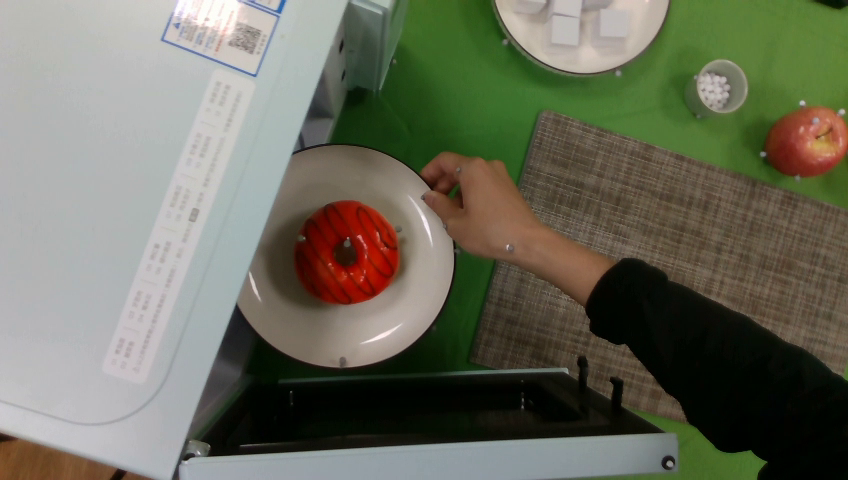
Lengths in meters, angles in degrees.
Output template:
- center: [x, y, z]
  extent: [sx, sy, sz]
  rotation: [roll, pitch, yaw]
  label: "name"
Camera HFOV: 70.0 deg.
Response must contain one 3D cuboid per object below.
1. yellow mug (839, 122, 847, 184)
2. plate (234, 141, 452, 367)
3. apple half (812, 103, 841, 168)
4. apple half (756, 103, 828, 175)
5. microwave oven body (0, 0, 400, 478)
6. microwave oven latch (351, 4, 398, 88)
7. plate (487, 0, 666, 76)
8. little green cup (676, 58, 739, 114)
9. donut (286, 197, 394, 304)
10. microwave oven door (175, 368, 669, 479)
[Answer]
- center: [0.551, -0.105, 0.716]
  extent: [0.131, 0.064, 0.100]
  rotation: [28, 86, -5]
  label: "yellow mug"
- center: [-0.080, 0.013, 0.567]
  extent: [0.209, 0.038, 0.209]
  rotation: [0, 92, -7]
  label: "plate"
- center: [0.454, -0.120, 0.701]
  extent: [0.033, 0.081, 0.081]
  rotation: [-10, 90, -2]
  label: "apple half"
- center: [0.415, -0.113, 0.697]
  extent: [0.053, 0.074, 0.081]
  rotation: [-9, 94, -2]
  label: "apple half"
- center: [-0.240, -0.088, 0.520]
  extent: [0.327, 0.259, 0.441]
  rotation: [20, 88, -7]
  label: "microwave oven body"
- center: [-0.053, -0.204, 0.639]
  extent: [0.030, 0.029, 0.079]
  rotation: [22, 88, -7]
  label: "microwave oven latch"
- center: [0.168, -0.287, 0.685]
  extent: [0.208, 0.039, 0.207]
  rotation: [0, 90, -7]
  label: "plate"
- center: [0.327, -0.176, 0.704]
  extent: [0.061, 0.038, 0.061]
  rotation: [0, 89, -7]
  label: "little green cup"
- center: [-0.076, 0.010, 0.554]
  extent: [0.099, 0.048, 0.099]
  rotation: [0, 94, -7]
  label: "donut"
- center: [-0.005, 0.160, 0.543]
  extent: [0.356, 0.243, 0.039]
  rotation: [-1, 88, -7]
  label: "microwave oven door"
